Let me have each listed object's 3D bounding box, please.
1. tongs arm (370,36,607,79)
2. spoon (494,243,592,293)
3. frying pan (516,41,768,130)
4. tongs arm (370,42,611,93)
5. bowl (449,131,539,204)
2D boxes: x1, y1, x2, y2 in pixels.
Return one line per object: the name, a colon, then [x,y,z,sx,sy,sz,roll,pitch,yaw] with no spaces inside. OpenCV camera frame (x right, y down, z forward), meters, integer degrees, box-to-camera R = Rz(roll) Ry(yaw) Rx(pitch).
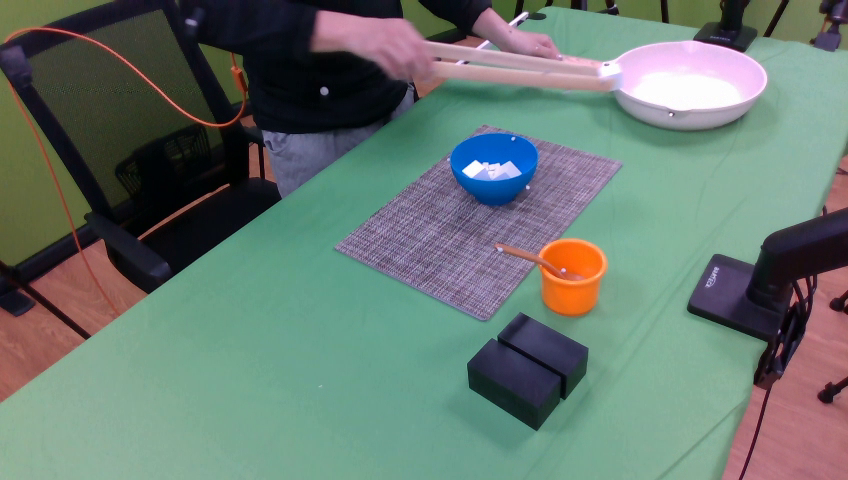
tongs arm: [0.108,-0.291,0.979,0.389,0.028,0.028,6,53,-7]
spoon: [0.161,0.035,0.808,0.021,0.195,0.041,-48,40,20]
frying pan: [0.423,-0.338,1.236,0.486,0.103,0.307,18,45,15]
tongs arm: [0.108,-0.273,0.964,0.386,0.026,0.050,2,50,-9]
bowl: [0.120,-0.114,1.034,0.151,0.077,0.150,-4,41,4]
